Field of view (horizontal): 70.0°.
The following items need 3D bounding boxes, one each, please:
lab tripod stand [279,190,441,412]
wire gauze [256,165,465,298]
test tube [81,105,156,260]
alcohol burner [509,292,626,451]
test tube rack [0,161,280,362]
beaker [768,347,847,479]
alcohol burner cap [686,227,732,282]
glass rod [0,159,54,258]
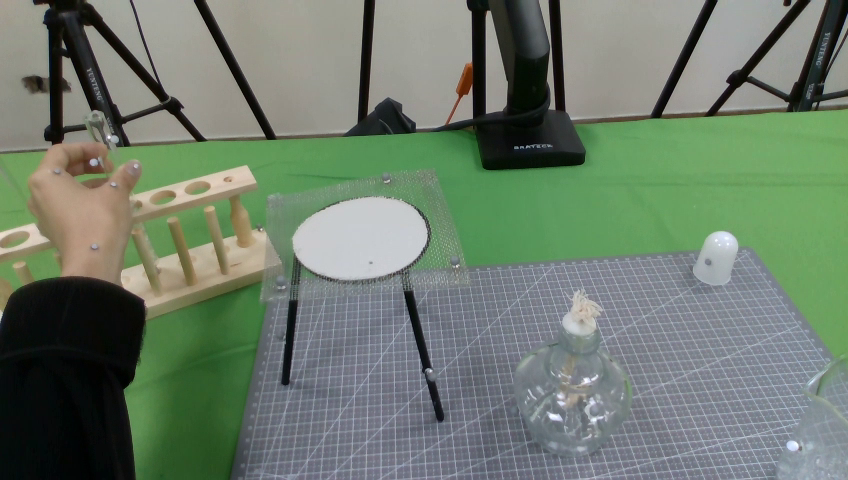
[{"bbox_3d":[-0.043,0.043,0.435,0.148,0.133,0.147,-2,41,2],"label":"lab tripod stand"},{"bbox_3d":[-0.045,-0.009,0.392,0.125,0.011,0.120,-8,39,-5],"label":"wire gauze"},{"bbox_3d":[-0.256,-0.042,0.513,0.017,0.151,0.017,-2,36,2],"label":"test tube"},{"bbox_3d":[0.095,0.082,0.396,0.078,0.120,0.077,-2,37,2],"label":"alcohol burner"},{"bbox_3d":[-0.259,0.013,0.526,0.243,0.086,0.066,-19,42,-20],"label":"test tube rack"},{"bbox_3d":[0.249,0.121,0.352,0.083,0.101,0.073,10,40,16],"label":"beaker"},{"bbox_3d":[0.253,0.010,0.534,0.034,0.048,0.033,-1,39,1],"label":"alcohol burner cap"},{"bbox_3d":[-0.314,-0.029,0.474,0.008,0.201,0.008,-3,42,3],"label":"glass rod"}]
